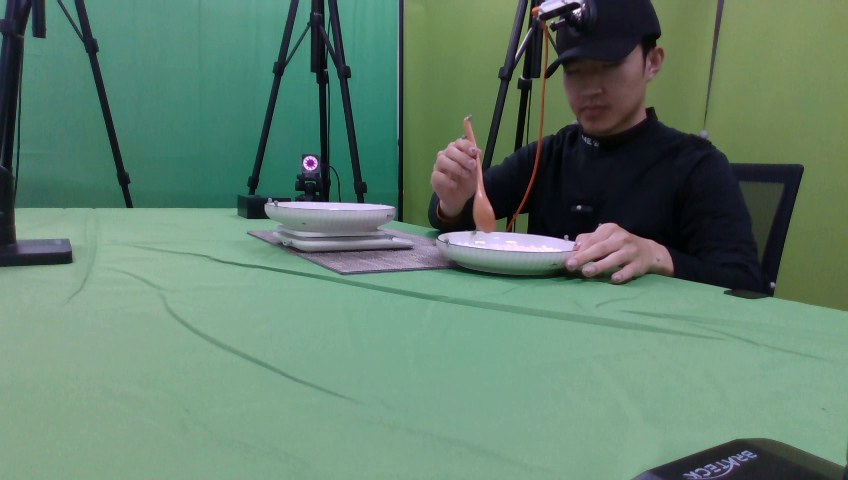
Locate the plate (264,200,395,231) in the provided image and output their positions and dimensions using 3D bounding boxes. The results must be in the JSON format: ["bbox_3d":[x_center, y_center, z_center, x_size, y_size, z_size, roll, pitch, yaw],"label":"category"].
[{"bbox_3d":[-0.150,-0.040,0.972,0.208,0.039,0.207,2,7,0],"label":"plate"}]

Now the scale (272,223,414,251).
[{"bbox_3d":[-0.131,-0.008,0.984,0.202,0.031,0.148,-2,8,-32],"label":"scale"}]

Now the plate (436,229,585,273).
[{"bbox_3d":[0.121,0.015,0.855,0.209,0.038,0.209,3,7,0],"label":"plate"}]

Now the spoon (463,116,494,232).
[{"bbox_3d":[0.077,-0.101,0.890,0.022,0.193,0.041,9,-29,-27],"label":"spoon"}]
